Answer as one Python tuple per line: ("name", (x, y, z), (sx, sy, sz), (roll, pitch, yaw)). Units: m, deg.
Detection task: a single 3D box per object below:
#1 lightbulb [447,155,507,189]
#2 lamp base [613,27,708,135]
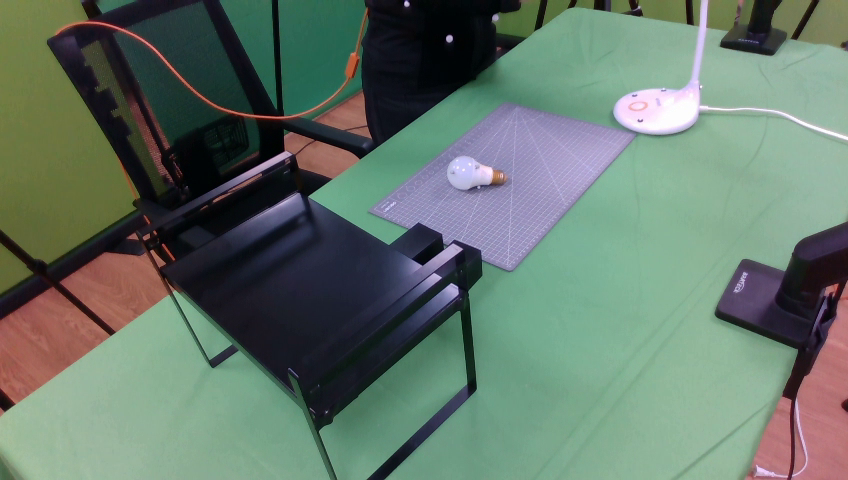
("lightbulb", (0.095, -0.118, 1.073), (0.108, 0.059, 0.059), (7, 40, -7))
("lamp base", (0.463, -0.316, 1.152), (0.179, 0.181, 0.159), (-5, 41, -1))
